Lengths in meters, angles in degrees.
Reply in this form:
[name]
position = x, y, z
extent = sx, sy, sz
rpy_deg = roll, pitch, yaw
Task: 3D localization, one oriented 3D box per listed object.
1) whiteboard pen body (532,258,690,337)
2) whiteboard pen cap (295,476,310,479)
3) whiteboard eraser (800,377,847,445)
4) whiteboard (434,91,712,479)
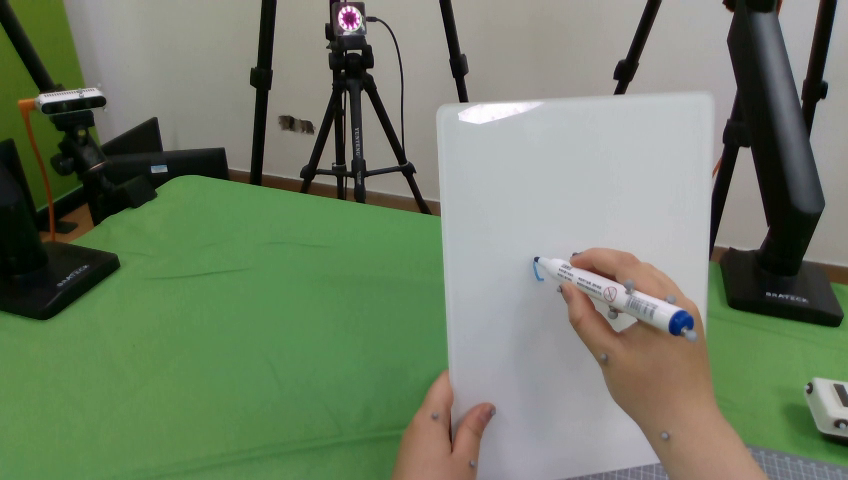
[whiteboard pen body]
position = 0.112, 0.031, 0.393
extent = 0.017, 0.017, 0.139
rpy_deg = -13, 19, -23
[whiteboard pen cap]
position = -0.092, 0.195, 0.457
extent = 0.018, 0.033, 0.018
rpy_deg = 2, 32, -1
[whiteboard eraser]
position = 0.402, 0.159, 0.537
extent = 0.112, 0.042, 0.055
rpy_deg = 9, 34, 11
[whiteboard]
position = 0.109, 0.034, 0.532
extent = 0.218, 0.306, 0.143
rpy_deg = -5, 12, -10
